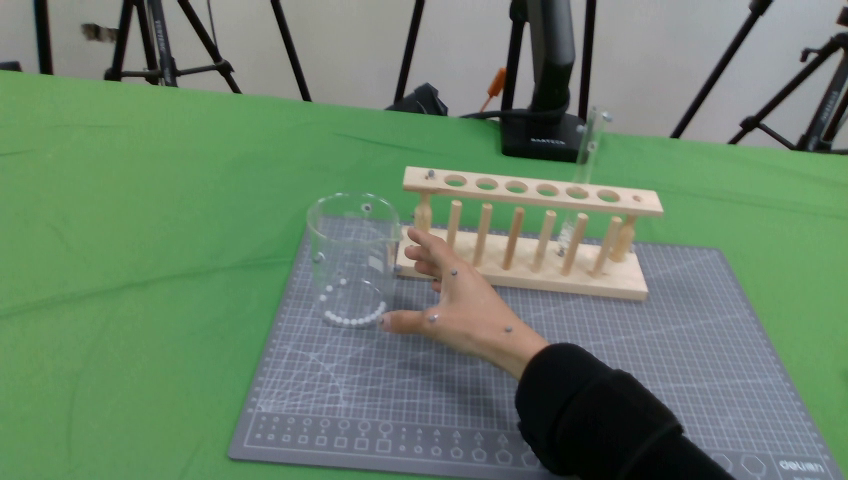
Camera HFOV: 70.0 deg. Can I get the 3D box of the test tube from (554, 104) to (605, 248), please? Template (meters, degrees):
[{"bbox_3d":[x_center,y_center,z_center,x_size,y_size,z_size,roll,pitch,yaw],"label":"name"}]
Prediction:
[{"bbox_3d":[0.145,-0.055,0.572,0.017,0.151,0.017,4,34,-3],"label":"test tube"}]

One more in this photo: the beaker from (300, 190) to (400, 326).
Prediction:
[{"bbox_3d":[-0.061,0.019,0.520,0.083,0.101,0.073,18,40,15],"label":"beaker"}]

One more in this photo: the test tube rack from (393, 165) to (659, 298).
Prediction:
[{"bbox_3d":[0.095,-0.008,0.587,0.242,0.086,0.066,6,38,0],"label":"test tube rack"}]
